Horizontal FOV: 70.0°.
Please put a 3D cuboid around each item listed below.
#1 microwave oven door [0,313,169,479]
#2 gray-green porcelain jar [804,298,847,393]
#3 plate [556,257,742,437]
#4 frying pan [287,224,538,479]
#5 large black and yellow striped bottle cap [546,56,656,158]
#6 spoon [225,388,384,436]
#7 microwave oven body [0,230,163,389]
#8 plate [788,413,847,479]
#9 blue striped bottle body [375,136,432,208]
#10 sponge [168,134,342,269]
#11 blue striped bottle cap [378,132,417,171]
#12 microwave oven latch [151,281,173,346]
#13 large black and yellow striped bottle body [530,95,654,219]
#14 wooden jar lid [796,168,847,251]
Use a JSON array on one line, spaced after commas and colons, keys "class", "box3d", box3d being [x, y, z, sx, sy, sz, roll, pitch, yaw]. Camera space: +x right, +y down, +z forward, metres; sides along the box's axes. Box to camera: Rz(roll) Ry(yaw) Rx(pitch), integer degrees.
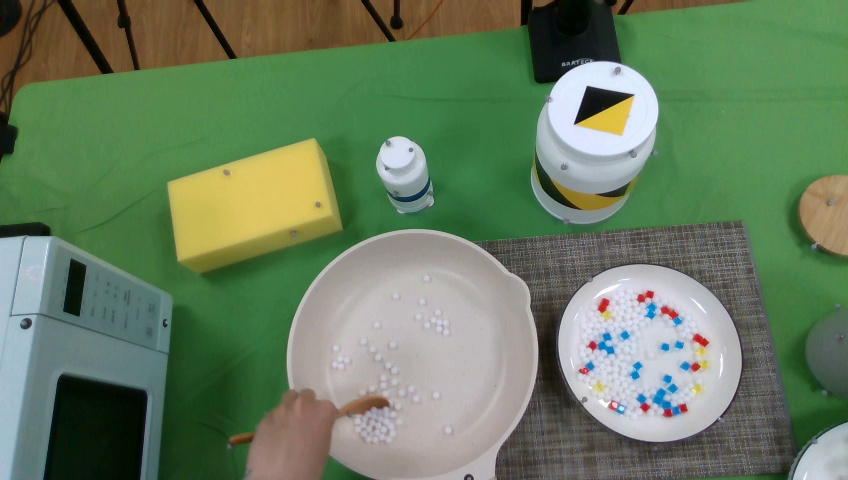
[{"class": "microwave oven door", "box3d": [-0.346, 0.270, 0.611, 0.039, 0.245, 0.353, -5, 71, 5]}, {"class": "gray-green porcelain jar", "box3d": [0.485, 0.110, 0.651, 0.106, 0.127, 0.105, -2, 72, 6]}, {"class": "plate", "box3d": [0.260, 0.123, 0.714, 0.209, 0.038, 0.208, -2, 72, 6]}, {"class": "frying pan", "box3d": [0.031, 0.208, 0.678, 0.307, 0.103, 0.483, -27, 63, -2]}, {"class": "large black and yellow striped bottle cap", "box3d": [0.188, -0.143, 0.647, 0.115, 0.019, 0.114, -2, 73, 6]}, {"class": "spoon", "box3d": [-0.125, 0.191, 0.672, 0.042, 0.195, 0.021, -49, 60, 37]}, {"class": "microwave oven body", "box3d": [-0.492, 0.242, 0.641, 0.326, 0.262, 0.439, -4, 72, 5]}, {"class": "plate", "box3d": [0.491, 0.286, 0.641, 0.207, 0.039, 0.206, -2, 72, 6]}, {"class": "blue striped bottle body", "box3d": [-0.026, -0.091, 0.775, 0.063, 0.121, 0.062, -2, 72, 6]}, {"class": "sponge", "box3d": [-0.226, -0.050, 0.816, 0.207, 0.061, 0.117, -18, 71, 0]}, {"class": "blue striped bottle cap", "box3d": [-0.032, -0.107, 0.726, 0.044, 0.021, 0.044, -3, 69, 7]}, {"class": "microwave oven latch", "box3d": [-0.341, 0.094, 0.774, 0.030, 0.030, 0.078, -3, 72, 5]}, {"class": "large black and yellow striped bottle body", "box3d": [0.197, -0.115, 0.726, 0.130, 0.185, 0.130, -2, 71, 6]}, {"class": "wooden jar lid", "box3d": [0.518, -0.036, 0.751, 0.108, 0.021, 0.108, -2, 73, 6]}]
